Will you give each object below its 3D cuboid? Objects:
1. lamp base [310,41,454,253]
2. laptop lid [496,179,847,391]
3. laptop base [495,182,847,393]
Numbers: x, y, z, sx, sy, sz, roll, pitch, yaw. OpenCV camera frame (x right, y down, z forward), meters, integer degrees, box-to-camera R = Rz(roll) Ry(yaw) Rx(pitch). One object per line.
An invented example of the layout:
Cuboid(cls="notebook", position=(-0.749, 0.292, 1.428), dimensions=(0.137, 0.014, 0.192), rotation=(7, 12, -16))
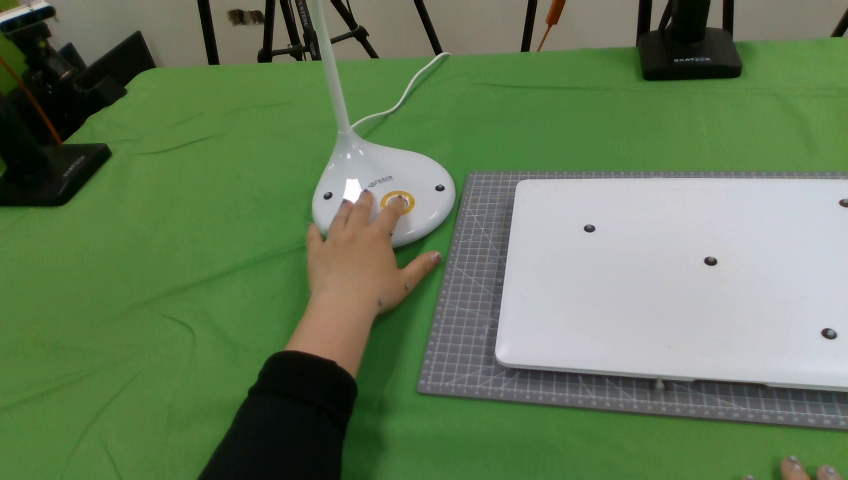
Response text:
Cuboid(cls="lamp base", position=(-0.065, -0.105, 0.625), dimensions=(0.160, 0.182, 0.177), rotation=(-34, 45, -24))
Cuboid(cls="laptop lid", position=(0.246, 0.023, 0.523), dimensions=(0.356, 0.013, 0.239), rotation=(2, 46, 14))
Cuboid(cls="laptop base", position=(0.249, 0.030, 0.533), dimensions=(0.353, 0.023, 0.233), rotation=(1, 47, 13))
